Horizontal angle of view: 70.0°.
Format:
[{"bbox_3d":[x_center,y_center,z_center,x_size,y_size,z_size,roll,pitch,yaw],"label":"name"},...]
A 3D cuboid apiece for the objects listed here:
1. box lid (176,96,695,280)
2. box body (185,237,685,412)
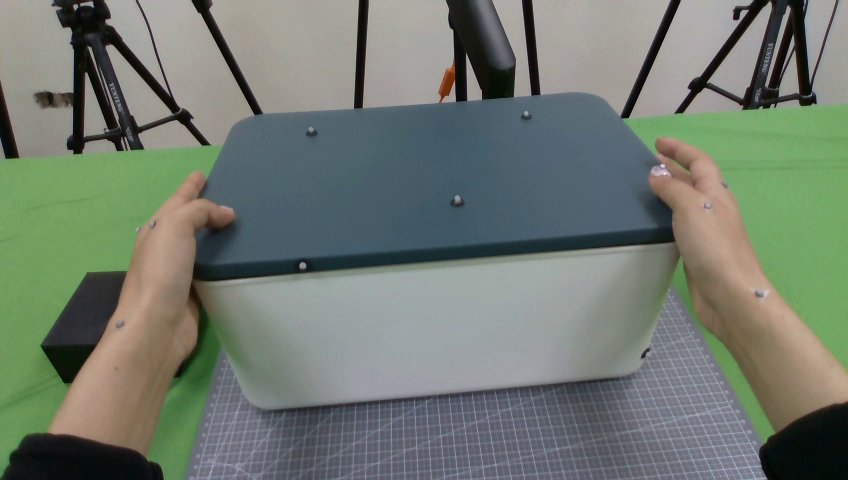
[{"bbox_3d":[0.002,-0.060,0.512,0.372,0.015,0.260,-5,33,-3],"label":"box lid"},{"bbox_3d":[0.008,0.005,0.562,0.364,0.162,0.251,-5,37,-2],"label":"box body"}]
